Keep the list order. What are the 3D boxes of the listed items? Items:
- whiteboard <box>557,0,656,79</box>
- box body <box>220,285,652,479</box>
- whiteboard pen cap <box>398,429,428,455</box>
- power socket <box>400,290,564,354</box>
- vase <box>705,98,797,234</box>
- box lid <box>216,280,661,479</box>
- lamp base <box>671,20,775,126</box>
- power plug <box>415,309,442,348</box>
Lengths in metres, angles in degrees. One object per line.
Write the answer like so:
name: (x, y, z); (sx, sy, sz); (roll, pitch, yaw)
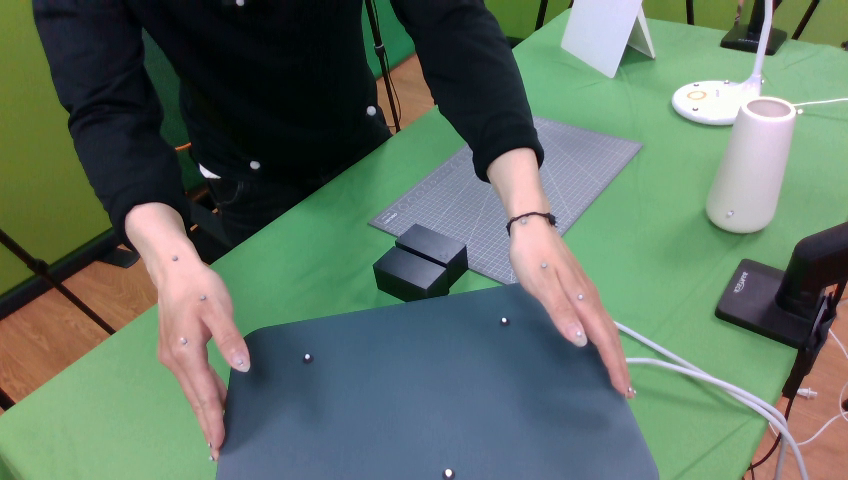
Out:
whiteboard: (0.462, -0.542, 1.366); (0.145, 0.306, 0.215); (-3, 36, -25)
box body: (0.005, 0.211, 0.616); (0.364, 0.161, 0.252); (-9, 40, -2)
whiteboard pen cap: (-0.013, 0.233, 0.695); (0.033, 0.018, 0.018); (-24, 43, -23)
power socket: (0.079, 0.111, 0.823); (0.227, 0.033, 0.072); (-6, 41, 1)
vase: (0.480, -0.103, 0.888); (0.098, 0.201, 0.097); (-4, 42, 4)
box lid: (-0.005, 0.156, 0.559); (0.372, 0.015, 0.261); (-9, 41, -3)
lamp base: (0.581, -0.332, 1.153); (0.179, 0.181, 0.160); (2, 42, 7)
power plug: (0.004, 0.121, 0.786); (0.035, 0.053, 0.072); (1, 46, 8)
